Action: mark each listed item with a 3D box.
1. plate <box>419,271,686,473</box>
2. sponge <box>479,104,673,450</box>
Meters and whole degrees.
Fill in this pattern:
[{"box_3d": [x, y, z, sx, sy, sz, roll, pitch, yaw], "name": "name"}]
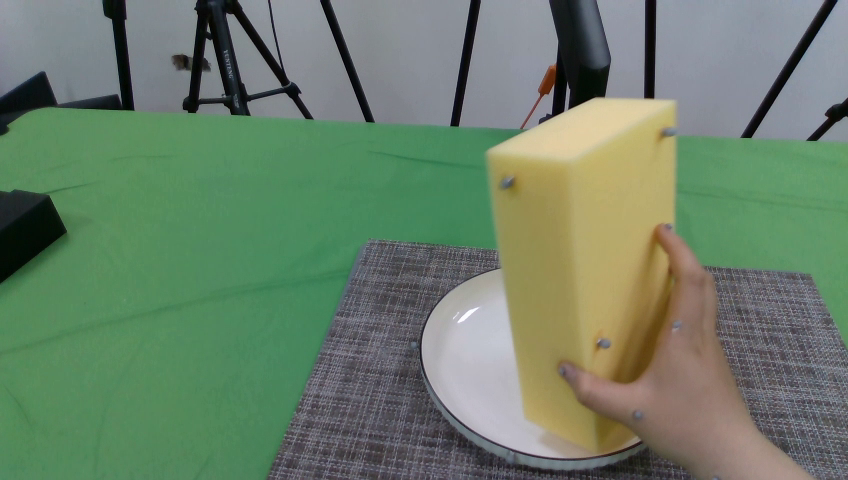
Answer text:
[{"box_3d": [0.100, 0.100, 0.494, 0.207, 0.039, 0.205, -1, 37, 1], "name": "plate"}, {"box_3d": [0.113, 0.023, 0.415, 0.060, 0.208, 0.118, 15, 38, 44], "name": "sponge"}]
